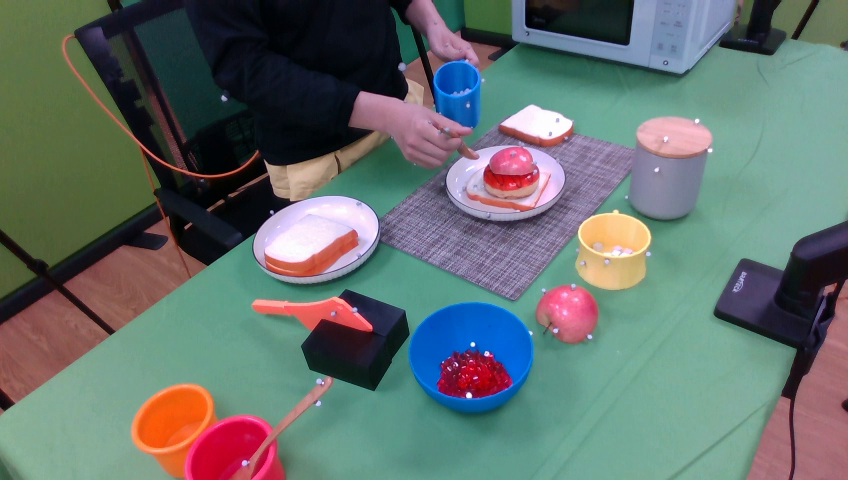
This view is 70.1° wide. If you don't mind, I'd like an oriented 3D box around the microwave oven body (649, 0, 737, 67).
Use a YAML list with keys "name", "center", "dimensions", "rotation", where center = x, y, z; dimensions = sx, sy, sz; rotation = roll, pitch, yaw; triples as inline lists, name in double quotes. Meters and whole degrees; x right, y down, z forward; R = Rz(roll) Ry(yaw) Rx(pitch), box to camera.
- name: "microwave oven body"
  center: [0.475, -0.602, 1.411]
  dimensions: [0.438, 0.261, 0.327]
  rotation: [23, 50, 32]

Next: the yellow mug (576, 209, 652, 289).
- name: "yellow mug"
  center: [0.279, 0.004, 0.893]
  dimensions: [0.099, 0.064, 0.130]
  rotation: [5, 42, 14]

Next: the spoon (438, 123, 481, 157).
- name: "spoon"
  center: [0.053, -0.155, 0.927]
  dimensions: [0.041, 0.195, 0.021]
  rotation: [34, 95, 17]

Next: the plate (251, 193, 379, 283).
- name: "plate"
  center: [-0.174, -0.001, 0.985]
  dimensions: [0.209, 0.038, 0.208]
  rotation: [-4, 41, 4]

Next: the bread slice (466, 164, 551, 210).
- name: "bread slice"
  center: [0.141, -0.093, 1.041]
  dimensions: [0.133, 0.018, 0.107]
  rotation: [10, 43, 20]

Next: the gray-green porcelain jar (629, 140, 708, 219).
- name: "gray-green porcelain jar"
  center: [0.383, -0.105, 0.958]
  dimensions: [0.106, 0.127, 0.105]
  rotation: [-4, 41, 4]

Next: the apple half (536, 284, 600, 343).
- name: "apple half"
  center: [0.196, 0.091, 0.815]
  dimensions: [0.075, 0.053, 0.080]
  rotation: [-22, 42, -20]

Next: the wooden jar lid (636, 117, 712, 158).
- name: "wooden jar lid"
  center: [0.377, -0.151, 0.917]
  dimensions: [0.108, 0.021, 0.108]
  rotation: [-2, 42, 3]

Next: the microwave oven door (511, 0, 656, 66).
- name: "microwave oven door"
  center: [0.351, -0.540, 1.349]
  dimensions: [0.353, 0.245, 0.039]
  rotation: [24, 50, 31]

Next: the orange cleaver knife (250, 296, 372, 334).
- name: "orange cleaver knife"
  center: [-0.158, 0.103, 0.828]
  dimensions: [0.210, 0.078, 0.012]
  rotation: [-4, 43, 39]

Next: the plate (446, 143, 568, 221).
- name: "plate"
  center: [0.142, -0.097, 1.045]
  dimensions: [0.207, 0.039, 0.206]
  rotation: [-4, 40, 4]

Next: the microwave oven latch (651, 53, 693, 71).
- name: "microwave oven latch"
  center: [0.532, -0.386, 1.301]
  dimensions: [0.078, 0.029, 0.030]
  rotation: [27, 52, 34]

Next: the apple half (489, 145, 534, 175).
- name: "apple half"
  center: [0.145, -0.138, 0.995]
  dimensions: [0.081, 0.033, 0.081]
  rotation: [-2, 35, 2]

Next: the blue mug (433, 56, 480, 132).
- name: "blue mug"
  center: [0.062, -0.272, 1.093]
  dimensions: [0.082, 0.106, 0.116]
  rotation: [8, 64, 8]

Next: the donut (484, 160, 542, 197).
- name: "donut"
  center: [0.149, -0.110, 1.016]
  dimensions: [0.099, 0.048, 0.098]
  rotation: [-4, 40, 4]

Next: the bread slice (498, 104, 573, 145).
- name: "bread slice"
  center: [0.231, -0.231, 1.205]
  dimensions: [0.105, 0.019, 0.130]
  rotation: [-36, 47, -29]

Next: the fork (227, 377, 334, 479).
- name: "fork"
  center: [-0.162, 0.216, 0.647]
  dimensions: [0.207, 0.019, 0.028]
  rotation: [-49, 41, 16]

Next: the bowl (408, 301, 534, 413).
- name: "bowl"
  center: [0.059, 0.156, 0.739]
  dimensions: [0.151, 0.077, 0.150]
  rotation: [-4, 40, 4]
